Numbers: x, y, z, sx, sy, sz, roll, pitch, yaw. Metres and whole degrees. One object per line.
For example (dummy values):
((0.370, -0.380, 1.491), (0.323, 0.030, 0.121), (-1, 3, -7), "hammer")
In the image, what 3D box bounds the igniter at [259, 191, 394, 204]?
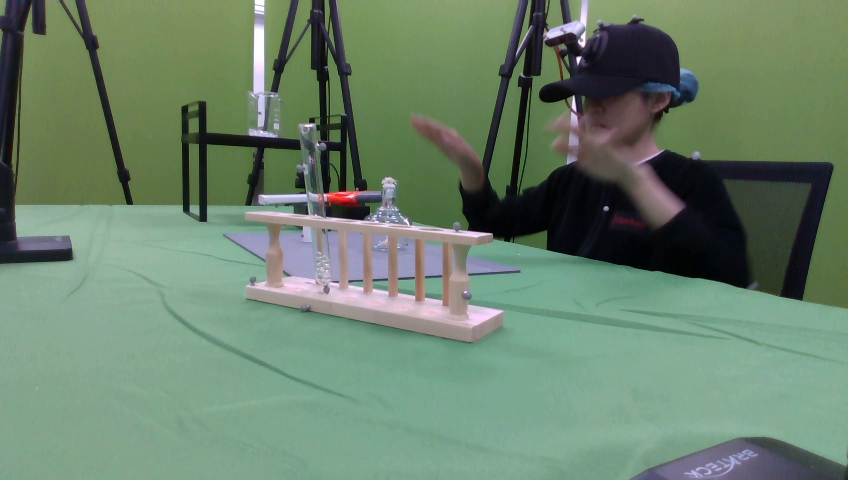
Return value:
((-0.193, -0.085, 1.228), (0.278, 0.025, 0.057), (-3, 11, -28), "igniter")

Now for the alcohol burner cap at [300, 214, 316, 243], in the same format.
((-0.186, -0.018, 0.991), (0.034, 0.048, 0.034), (1, 6, 0), "alcohol burner cap")

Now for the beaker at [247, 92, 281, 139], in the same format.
((-0.361, -0.280, 1.359), (0.074, 0.100, 0.084), (4, 8, 8), "beaker")

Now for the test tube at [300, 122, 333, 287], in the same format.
((-0.096, -0.030, 0.543), (0.017, 0.150, 0.017), (-3, 14, 1), "test tube")

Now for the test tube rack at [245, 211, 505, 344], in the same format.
((-0.049, 0.025, 0.547), (0.241, 0.085, 0.067), (7, 8, 29), "test tube rack")

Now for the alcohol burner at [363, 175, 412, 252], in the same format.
((-0.056, -0.041, 0.941), (0.078, 0.119, 0.078), (3, 5, 0), "alcohol burner")
